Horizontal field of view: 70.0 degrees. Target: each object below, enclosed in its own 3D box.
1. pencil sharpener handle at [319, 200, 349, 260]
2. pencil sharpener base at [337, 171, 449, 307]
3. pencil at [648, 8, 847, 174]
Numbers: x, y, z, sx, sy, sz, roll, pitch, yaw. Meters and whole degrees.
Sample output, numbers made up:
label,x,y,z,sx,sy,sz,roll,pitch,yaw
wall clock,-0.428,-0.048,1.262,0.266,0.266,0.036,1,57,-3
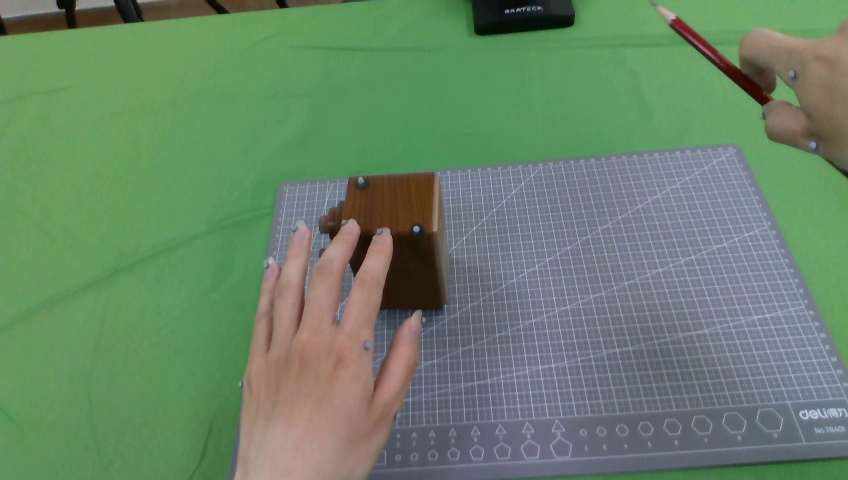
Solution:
label,x,y,z,sx,sy,sz,roll,pitch,yaw
pencil sharpener handle,-0.073,-0.004,0.474,0.030,0.068,0.035,-2,57,6
pencil sharpener base,-0.021,0.003,0.478,0.076,0.108,0.061,-2,53,6
pencil,0.214,-0.083,0.373,0.193,0.012,0.012,41,65,5
